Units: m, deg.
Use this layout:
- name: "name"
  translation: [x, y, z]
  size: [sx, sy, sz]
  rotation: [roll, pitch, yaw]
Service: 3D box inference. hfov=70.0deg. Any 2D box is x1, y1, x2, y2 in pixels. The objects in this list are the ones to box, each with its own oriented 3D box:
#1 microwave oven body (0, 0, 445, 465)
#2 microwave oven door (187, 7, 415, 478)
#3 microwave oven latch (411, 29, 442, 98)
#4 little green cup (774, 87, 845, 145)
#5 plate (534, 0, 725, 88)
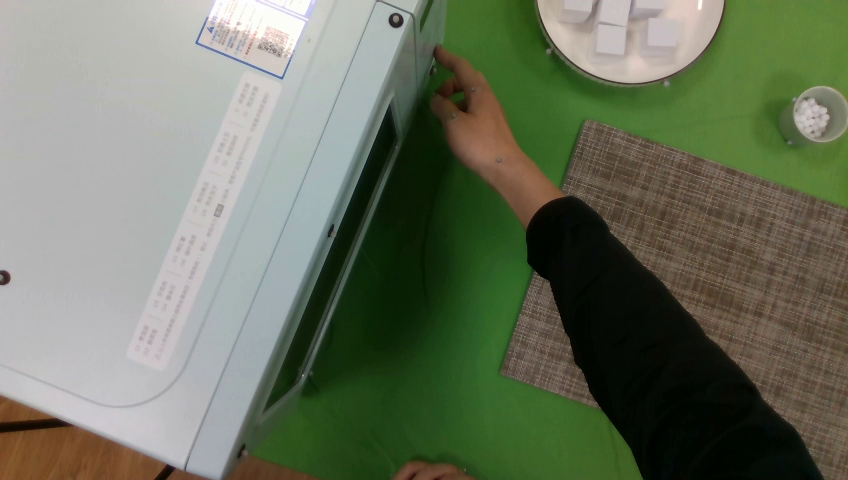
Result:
- name: "microwave oven body"
  translation: [-0.210, -0.091, 0.545]
  size: [0.326, 0.260, 0.441]
  rotation: [22, 89, 0]
- name: "microwave oven door"
  translation: [-0.091, 0.003, 0.539]
  size: [0.039, 0.244, 0.355]
  rotation: [22, 88, 1]
- name: "microwave oven latch"
  translation: [-0.005, -0.194, 0.646]
  size: [0.030, 0.029, 0.079]
  rotation: [21, 89, 0]
- name: "little green cup"
  translation: [0.422, -0.134, 0.668]
  size: [0.061, 0.038, 0.061]
  rotation: [0, 88, 0]
- name: "plate"
  translation: [0.222, -0.268, 0.669]
  size: [0.208, 0.039, 0.207]
  rotation: [0, 88, 0]
